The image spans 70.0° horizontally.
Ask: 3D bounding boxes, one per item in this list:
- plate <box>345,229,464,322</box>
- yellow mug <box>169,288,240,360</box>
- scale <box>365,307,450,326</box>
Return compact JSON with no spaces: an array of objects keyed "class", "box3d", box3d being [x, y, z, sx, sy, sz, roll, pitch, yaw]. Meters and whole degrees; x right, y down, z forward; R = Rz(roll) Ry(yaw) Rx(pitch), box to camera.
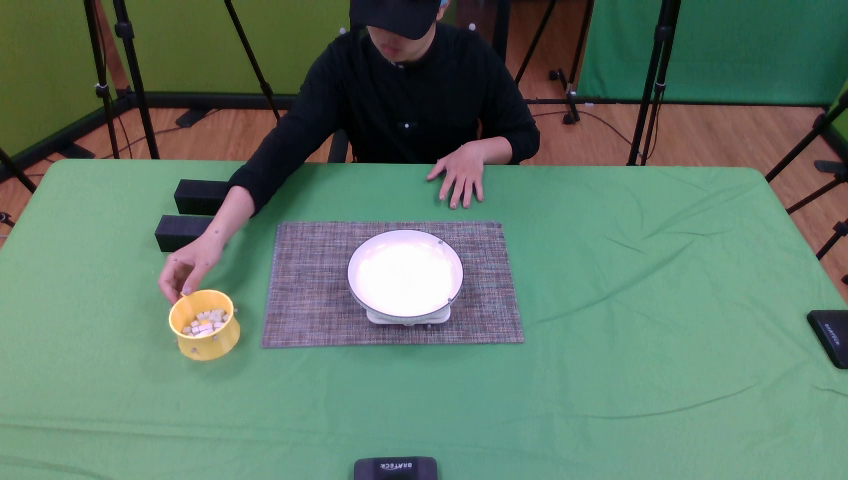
[{"class":"plate","box3d":[-0.034,0.065,1.073,0.209,0.038,0.208,2,46,-2]},{"class":"yellow mug","box3d":[-0.373,0.130,1.012,0.100,0.064,0.130,-33,56,-30]},{"class":"scale","box3d":[-0.032,0.071,1.113,0.149,0.032,0.199,1,46,-4]}]
